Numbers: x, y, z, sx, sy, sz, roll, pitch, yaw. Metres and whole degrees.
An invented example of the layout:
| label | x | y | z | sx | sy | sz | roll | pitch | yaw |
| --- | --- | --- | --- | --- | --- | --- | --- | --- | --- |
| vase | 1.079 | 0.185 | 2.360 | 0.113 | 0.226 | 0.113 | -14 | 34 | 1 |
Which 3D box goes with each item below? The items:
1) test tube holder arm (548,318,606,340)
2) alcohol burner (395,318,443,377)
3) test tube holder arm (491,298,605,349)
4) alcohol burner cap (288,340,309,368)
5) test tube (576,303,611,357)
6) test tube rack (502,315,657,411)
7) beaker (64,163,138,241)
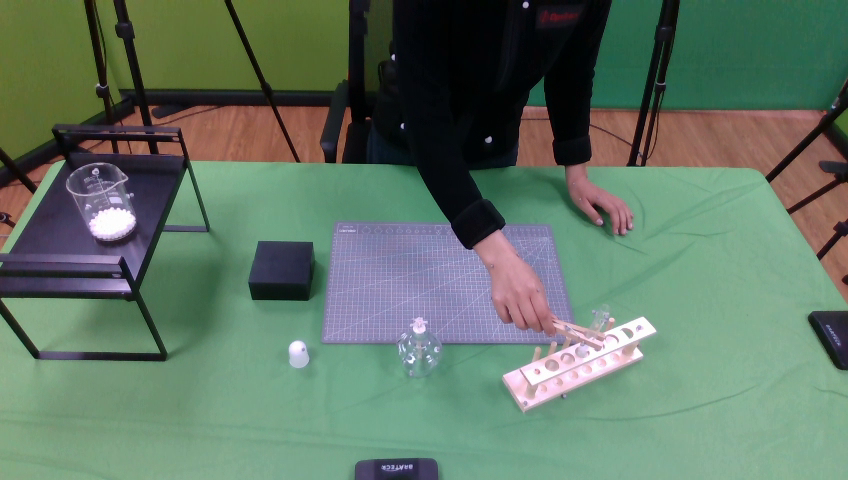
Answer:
| label | x | y | z | sx | sy | sz | roll | pitch | yaw |
| --- | --- | --- | --- | --- | --- | --- | --- | --- | --- |
| test tube holder arm | 0.231 | 0.136 | 0.921 | 0.088 | 0.015 | 0.010 | 14 | 46 | 9 |
| alcohol burner | -0.009 | 0.167 | 0.971 | 0.078 | 0.120 | 0.077 | 1 | 46 | -1 |
| test tube holder arm | 0.187 | 0.127 | 0.928 | 0.178 | 0.015 | 0.013 | 20 | 47 | 14 |
| alcohol burner cap | -0.206 | 0.183 | 0.991 | 0.034 | 0.048 | 0.033 | 3 | 47 | -3 |
| test tube | 0.252 | 0.140 | 0.908 | 0.017 | 0.151 | 0.017 | 2 | 52 | -2 |
| test tube rack | 0.253 | 0.187 | 0.988 | 0.242 | 0.085 | 0.066 | -18 | 50 | -20 |
| beaker | -0.477 | -0.055 | 0.910 | 0.084 | 0.101 | 0.073 | -9 | 48 | -13 |
